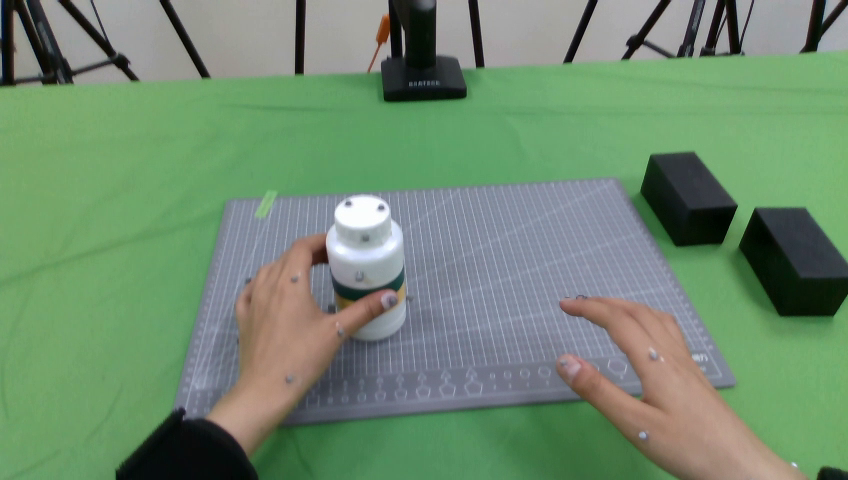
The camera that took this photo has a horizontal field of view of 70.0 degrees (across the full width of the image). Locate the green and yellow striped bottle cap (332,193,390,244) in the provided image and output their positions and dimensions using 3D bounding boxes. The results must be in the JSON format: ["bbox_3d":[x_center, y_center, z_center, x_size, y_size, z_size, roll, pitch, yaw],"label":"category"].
[{"bbox_3d":[-0.049,-0.017,0.471,0.045,0.020,0.045,0,39,0],"label":"green and yellow striped bottle cap"}]

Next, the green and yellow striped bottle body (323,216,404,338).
[{"bbox_3d":[-0.049,0.021,0.506,0.063,0.121,0.062,0,41,0],"label":"green and yellow striped bottle body"}]
